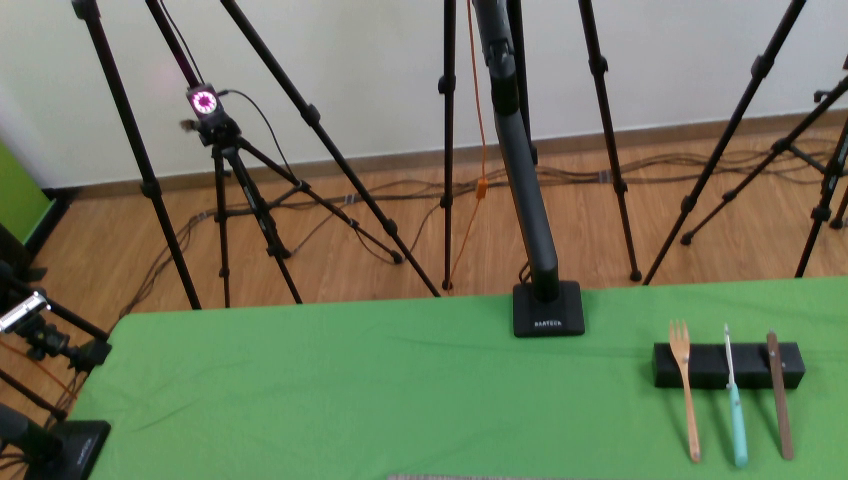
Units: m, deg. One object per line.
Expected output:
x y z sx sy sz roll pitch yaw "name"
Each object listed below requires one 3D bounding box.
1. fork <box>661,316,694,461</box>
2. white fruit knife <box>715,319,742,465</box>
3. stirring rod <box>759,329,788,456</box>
0.374 0.213 0.886 0.028 0.019 0.206 -3 67 8 "fork"
0.434 0.213 0.870 0.016 0.028 0.206 0 64 10 "white fruit knife"
0.495 0.214 0.858 0.014 0.006 0.175 -5 72 19 "stirring rod"
